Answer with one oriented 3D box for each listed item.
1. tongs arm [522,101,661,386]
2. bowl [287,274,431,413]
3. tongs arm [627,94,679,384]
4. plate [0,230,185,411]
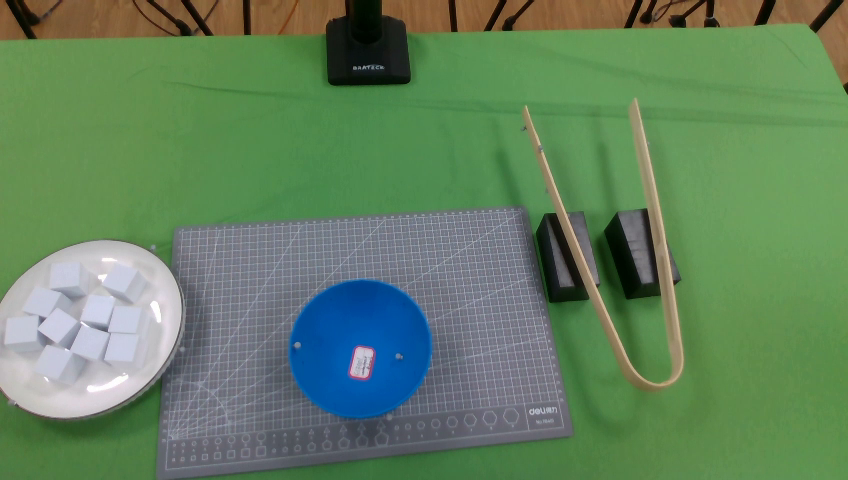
[{"bbox_3d":[0.191,-0.012,0.727,0.051,0.027,0.381,-8,65,-9],"label":"tongs arm"},{"bbox_3d":[-0.070,0.120,0.665,0.151,0.077,0.150,2,64,-4],"label":"bowl"},{"bbox_3d":[0.271,-0.019,0.735,0.028,0.028,0.384,5,64,-6],"label":"tongs arm"},{"bbox_3d":[-0.373,0.089,0.681,0.208,0.039,0.206,1,65,-3],"label":"plate"}]
